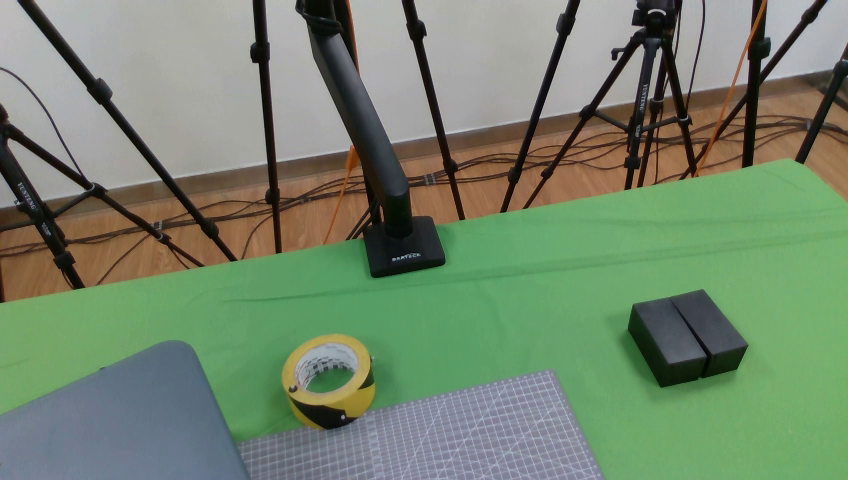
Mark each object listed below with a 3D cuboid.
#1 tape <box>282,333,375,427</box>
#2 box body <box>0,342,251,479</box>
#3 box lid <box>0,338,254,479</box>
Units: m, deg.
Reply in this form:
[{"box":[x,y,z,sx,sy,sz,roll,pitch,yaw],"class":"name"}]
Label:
[{"box":[-0.122,0.176,0.773,0.117,0.053,0.115,-3,40,3],"class":"tape"},{"box":[-0.342,0.300,0.574,0.364,0.162,0.251,-26,47,-21],"class":"box body"},{"box":[-0.345,0.245,0.523,0.372,0.015,0.260,-25,47,-21],"class":"box lid"}]
